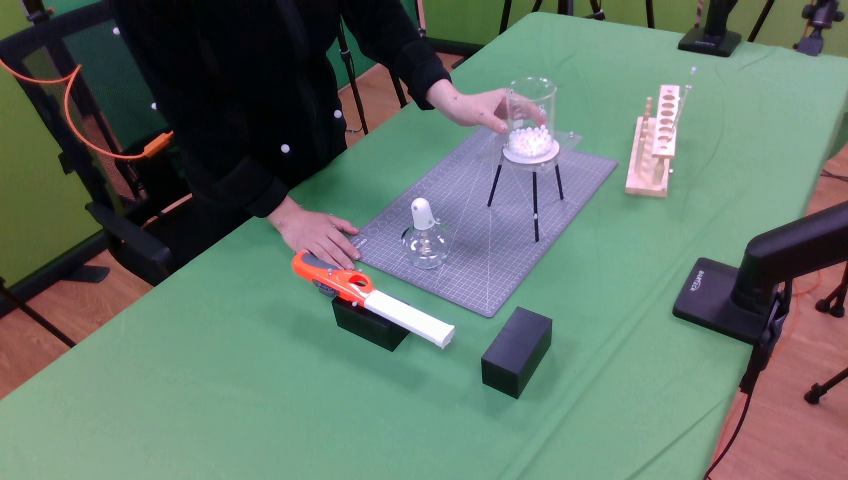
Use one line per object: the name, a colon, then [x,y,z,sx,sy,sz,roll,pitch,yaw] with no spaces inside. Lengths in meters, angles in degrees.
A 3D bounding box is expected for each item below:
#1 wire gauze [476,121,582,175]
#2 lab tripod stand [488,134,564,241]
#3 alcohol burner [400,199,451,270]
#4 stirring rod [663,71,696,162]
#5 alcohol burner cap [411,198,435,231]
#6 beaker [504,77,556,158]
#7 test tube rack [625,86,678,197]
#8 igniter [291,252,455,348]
wire gauze: [0.161,-0.141,0.929,0.120,0.011,0.125,19,49,31]
lab tripod stand: [0.168,-0.092,0.972,0.148,0.132,0.147,-5,41,5]
alcohol burner: [0.001,-0.013,0.917,0.078,0.119,0.077,-5,41,5]
stirring rod: [0.410,-0.196,0.981,0.014,0.177,0.006,11,50,13]
alcohol burner cap: [-0.003,-0.040,0.893,0.034,0.048,0.033,-8,41,7]
beaker: [0.160,-0.181,0.900,0.084,0.101,0.073,-33,46,-27]
test tube rack: [0.412,-0.184,1.088,0.066,0.085,0.242,9,43,18]
igniter: [-0.080,0.076,0.822,0.274,0.025,0.057,23,46,27]
